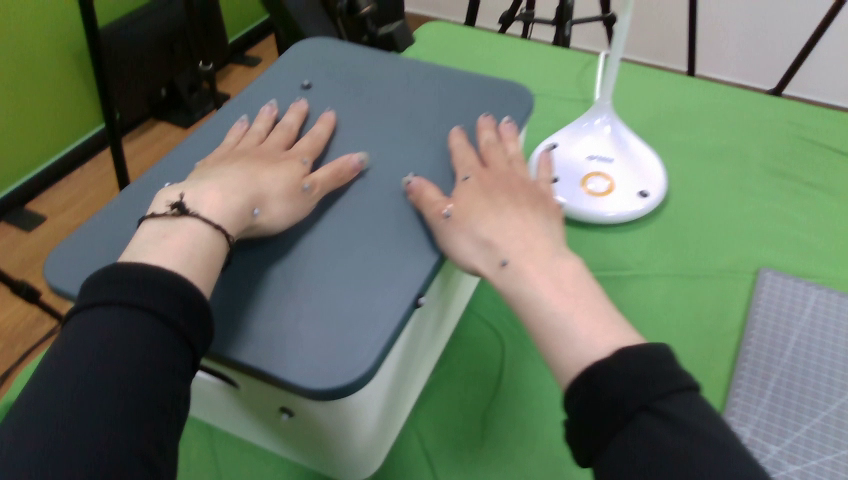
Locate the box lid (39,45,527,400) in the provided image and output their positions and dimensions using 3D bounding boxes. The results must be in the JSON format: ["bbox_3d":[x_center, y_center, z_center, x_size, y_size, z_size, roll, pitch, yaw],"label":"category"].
[{"bbox_3d":[-0.089,-0.054,0.498,0.262,0.015,0.369,17,48,17],"label":"box lid"}]

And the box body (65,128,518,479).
[{"bbox_3d":[-0.086,-0.004,0.552,0.253,0.162,0.362,17,48,17],"label":"box body"}]

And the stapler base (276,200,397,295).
[{"bbox_3d":[-0.080,0.000,0.561,0.129,0.024,0.041,36,43,21],"label":"stapler base"}]

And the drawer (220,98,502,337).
[{"bbox_3d":[-0.050,-0.035,0.580,0.194,0.074,0.211,25,42,8],"label":"drawer"}]

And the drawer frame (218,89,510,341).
[{"bbox_3d":[-0.048,-0.037,0.581,0.201,0.083,0.212,24,43,8],"label":"drawer frame"}]

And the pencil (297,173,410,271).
[{"bbox_3d":[-0.072,-0.020,0.585,0.012,0.012,0.192,-31,48,-25],"label":"pencil"}]

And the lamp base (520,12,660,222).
[{"bbox_3d":[0.192,-0.141,0.667,0.160,0.182,0.177,2,43,4],"label":"lamp base"}]

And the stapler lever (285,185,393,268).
[{"bbox_3d":[-0.076,-0.018,0.545,0.117,0.040,0.027,37,44,20],"label":"stapler lever"}]
